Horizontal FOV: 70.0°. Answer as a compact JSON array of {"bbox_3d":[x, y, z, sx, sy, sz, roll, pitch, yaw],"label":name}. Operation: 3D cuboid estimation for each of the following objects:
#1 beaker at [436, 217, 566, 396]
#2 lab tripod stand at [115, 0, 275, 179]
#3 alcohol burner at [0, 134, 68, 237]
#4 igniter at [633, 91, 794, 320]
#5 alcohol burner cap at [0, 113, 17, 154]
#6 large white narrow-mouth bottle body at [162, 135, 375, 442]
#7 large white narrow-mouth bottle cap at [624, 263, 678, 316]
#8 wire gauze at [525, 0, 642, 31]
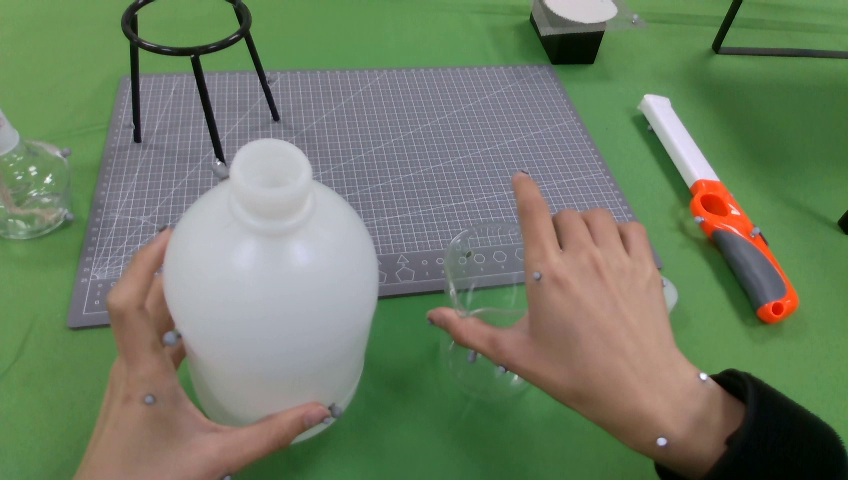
[{"bbox_3d":[0.043,0.048,0.390,0.073,0.101,0.084,30,51,26],"label":"beaker"},{"bbox_3d":[-0.177,-0.119,0.483,0.148,0.132,0.147,5,49,-6],"label":"lab tripod stand"},{"bbox_3d":[-0.303,-0.059,0.431,0.078,0.120,0.077,5,47,-5],"label":"alcohol burner"},{"bbox_3d":[0.254,-0.045,0.549,0.057,0.025,0.273,4,49,-18],"label":"igniter"},{"bbox_3d":[-0.300,-0.081,0.403,0.034,0.048,0.033,3,55,-4],"label":"alcohol burner cap"},{"bbox_3d":[-0.076,0.026,0.307,0.102,0.196,0.101,6,54,-7],"label":"large white narrow-mouth bottle body"},{"bbox_3d":[0.177,0.039,0.472,0.038,0.024,0.037,3,49,-4],"label":"large white narrow-mouth bottle cap"},{"bbox_3d":[0.167,-0.270,0.681,0.122,0.011,0.123,-3,50,-12],"label":"wire gauze"}]
